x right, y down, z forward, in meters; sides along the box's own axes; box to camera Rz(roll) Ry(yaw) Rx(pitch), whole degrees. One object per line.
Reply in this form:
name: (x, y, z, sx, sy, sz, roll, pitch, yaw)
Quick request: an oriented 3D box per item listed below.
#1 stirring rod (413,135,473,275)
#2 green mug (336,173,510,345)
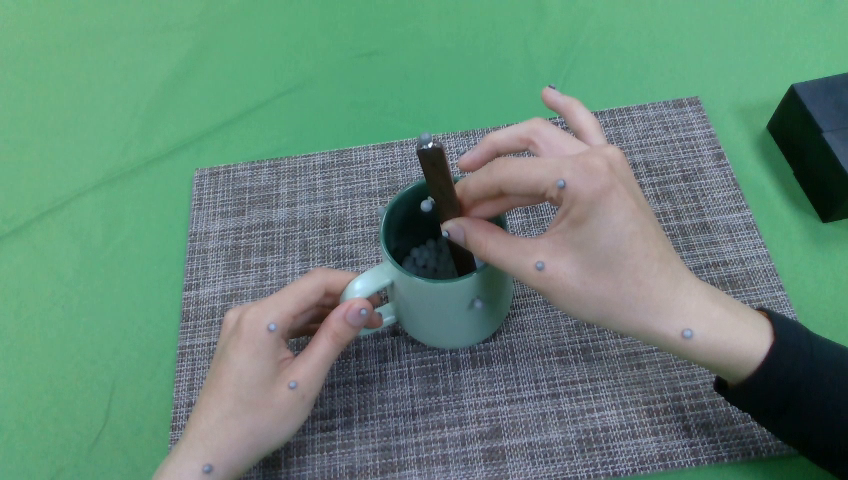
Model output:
stirring rod: (0.016, -0.008, 0.362, 0.014, 0.178, 0.005, -9, 62, 7)
green mug: (-0.001, 0.024, 0.411, 0.125, 0.106, 0.091, -29, 62, -11)
